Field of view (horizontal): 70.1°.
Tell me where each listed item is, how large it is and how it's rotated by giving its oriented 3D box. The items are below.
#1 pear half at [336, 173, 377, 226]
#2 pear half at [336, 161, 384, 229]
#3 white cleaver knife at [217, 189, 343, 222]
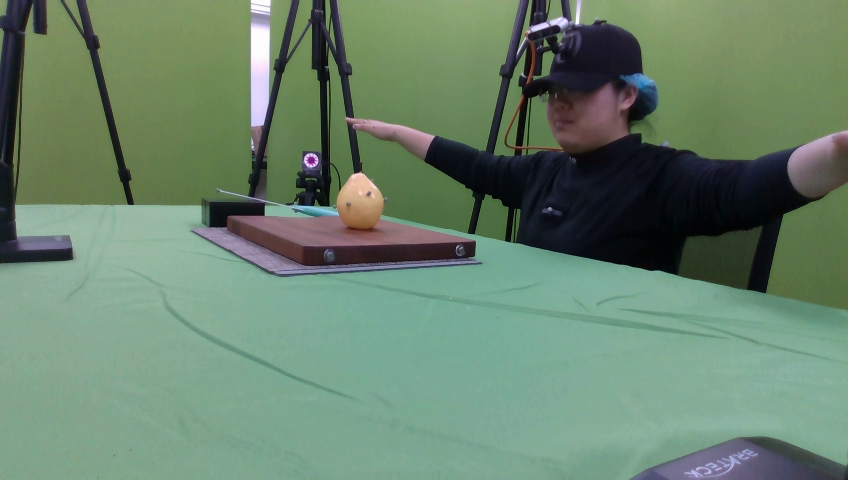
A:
[{"bbox_3d":[-0.116,-0.067,1.004,0.071,0.088,0.031,-11,13,-31],"label":"pear half"},{"bbox_3d":[-0.099,-0.072,0.972,0.077,0.110,0.055,-7,11,-31],"label":"pear half"},{"bbox_3d":[-0.275,-0.066,1.233,0.288,0.021,0.065,11,7,-29],"label":"white cleaver knife"}]
